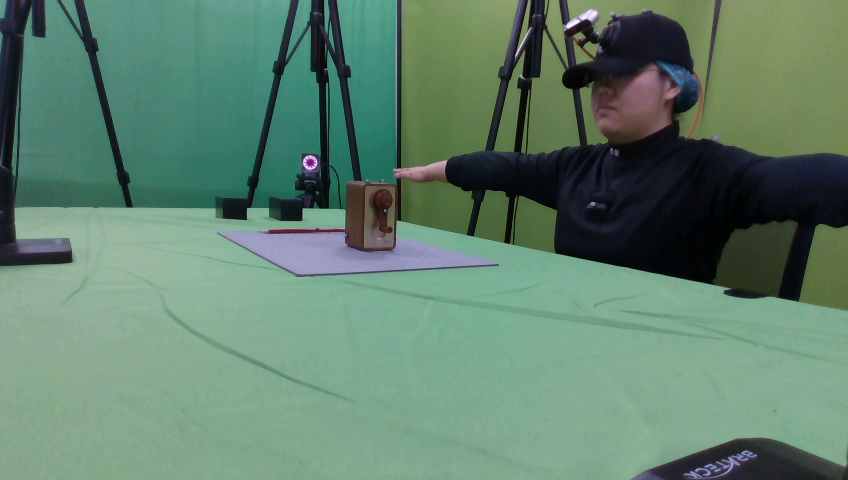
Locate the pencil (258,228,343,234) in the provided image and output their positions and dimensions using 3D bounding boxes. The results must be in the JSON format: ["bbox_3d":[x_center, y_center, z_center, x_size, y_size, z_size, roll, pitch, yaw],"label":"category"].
[{"bbox_3d":[-0.213,-0.017,1.131,0.195,0.012,0.012,-2,8,-26],"label":"pencil"}]

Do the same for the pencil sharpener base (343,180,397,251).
[{"bbox_3d":[-0.085,-0.039,0.958,0.062,0.107,0.076,-1,8,-31],"label":"pencil sharpener base"}]

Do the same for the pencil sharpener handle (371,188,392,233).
[{"bbox_3d":[-0.058,-0.044,0.913,0.036,0.067,0.030,-1,8,-31],"label":"pencil sharpener handle"}]
